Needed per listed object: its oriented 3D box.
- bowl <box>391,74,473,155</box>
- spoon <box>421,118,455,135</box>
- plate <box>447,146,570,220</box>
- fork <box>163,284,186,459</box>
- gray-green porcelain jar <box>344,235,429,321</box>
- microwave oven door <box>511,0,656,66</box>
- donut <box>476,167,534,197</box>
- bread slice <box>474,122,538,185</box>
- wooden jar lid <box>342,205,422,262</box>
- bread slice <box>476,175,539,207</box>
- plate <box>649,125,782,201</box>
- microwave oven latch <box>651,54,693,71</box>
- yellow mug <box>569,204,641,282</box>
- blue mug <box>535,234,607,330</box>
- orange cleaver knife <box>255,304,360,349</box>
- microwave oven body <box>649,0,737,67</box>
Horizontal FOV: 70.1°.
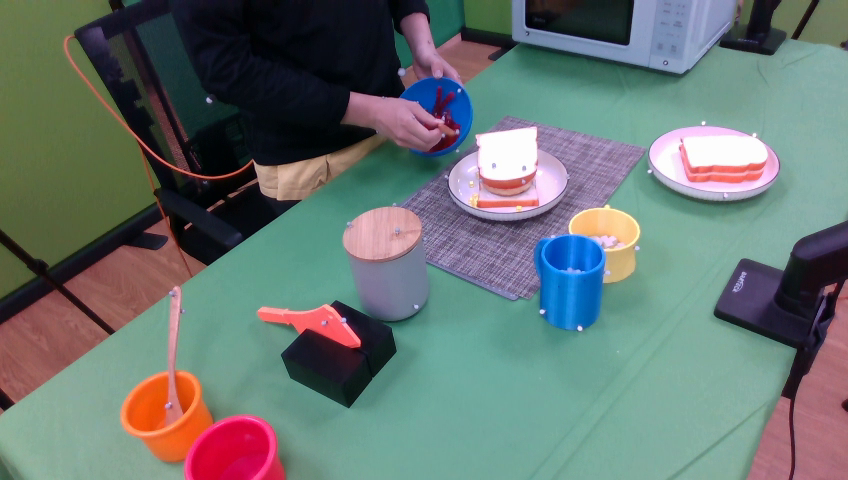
[{"bbox_3d":[0.022,-0.218,1.109,0.151,0.077,0.151,-4,76,15],"label":"bowl"},{"bbox_3d":[0.026,-0.196,1.038,0.042,0.021,0.193,-3,13,-8],"label":"spoon"},{"bbox_3d":[0.145,-0.098,1.046,0.209,0.038,0.208,-4,41,4],"label":"plate"},{"bbox_3d":[-0.302,0.157,0.733,0.028,0.019,0.207,-3,84,15],"label":"fork"},{"bbox_3d":[-0.049,0.042,0.849,0.106,0.127,0.105,-4,41,4],"label":"gray-green porcelain jar"},{"bbox_3d":[0.351,-0.539,1.349,0.353,0.245,0.039,24,50,31],"label":"microwave oven door"},{"bbox_3d":[0.138,-0.116,1.025,0.099,0.048,0.098,-8,55,13],"label":"donut"},{"bbox_3d":[0.141,-0.144,1.008,0.107,0.018,0.133,-8,47,9],"label":"bread slice"},{"bbox_3d":[-0.055,-0.006,0.808,0.108,0.021,0.108,-6,41,6],"label":"wooden jar lid"},{"bbox_3d":[0.144,-0.103,1.058,0.105,0.019,0.131,-1,44,5],"label":"bread slice"},{"bbox_3d":[0.493,-0.128,1.036,0.207,0.039,0.206,-4,41,4],"label":"plate"},{"bbox_3d":[0.532,-0.386,1.301,0.078,0.029,0.030,27,52,34],"label":"microwave oven latch"},{"bbox_3d":[0.268,-0.005,0.904,0.099,0.064,0.130,7,41,15],"label":"yellow mug"},{"bbox_3d":[0.190,0.048,0.824,0.082,0.106,0.115,-26,44,-21],"label":"blue mug"},{"bbox_3d":[-0.161,0.115,0.813,0.210,0.077,0.012,-4,32,47],"label":"orange cleaver knife"},{"bbox_3d":[0.475,-0.602,1.411,0.438,0.261,0.327,23,50,32],"label":"microwave oven body"}]
